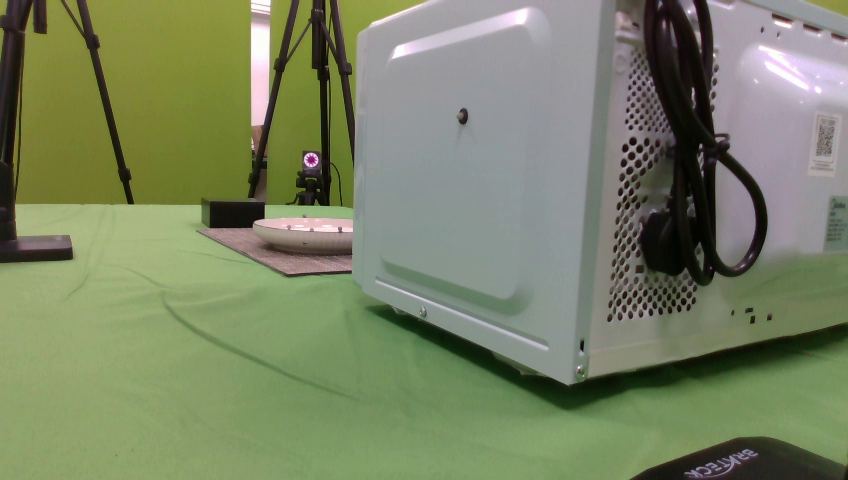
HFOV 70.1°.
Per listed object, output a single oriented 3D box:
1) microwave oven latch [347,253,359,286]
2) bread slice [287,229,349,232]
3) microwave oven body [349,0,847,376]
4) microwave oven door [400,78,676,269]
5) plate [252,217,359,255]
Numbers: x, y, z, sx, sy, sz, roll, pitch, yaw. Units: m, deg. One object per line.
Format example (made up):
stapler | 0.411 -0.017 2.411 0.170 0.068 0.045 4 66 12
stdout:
microwave oven latch | -0.034 0.028 0.581 0.079 0.029 0.030 -1 7 -31
bread slice | -0.153 -0.005 0.921 0.132 0.019 0.104 0 7 -30
microwave oven body | 0.199 -0.053 0.540 0.444 0.260 0.324 -1 7 -32
microwave oven door | 0.143 -0.097 0.826 0.355 0.243 0.039 5 8 18
plate | -0.155 -0.007 0.924 0.209 0.038 0.209 3 7 0
